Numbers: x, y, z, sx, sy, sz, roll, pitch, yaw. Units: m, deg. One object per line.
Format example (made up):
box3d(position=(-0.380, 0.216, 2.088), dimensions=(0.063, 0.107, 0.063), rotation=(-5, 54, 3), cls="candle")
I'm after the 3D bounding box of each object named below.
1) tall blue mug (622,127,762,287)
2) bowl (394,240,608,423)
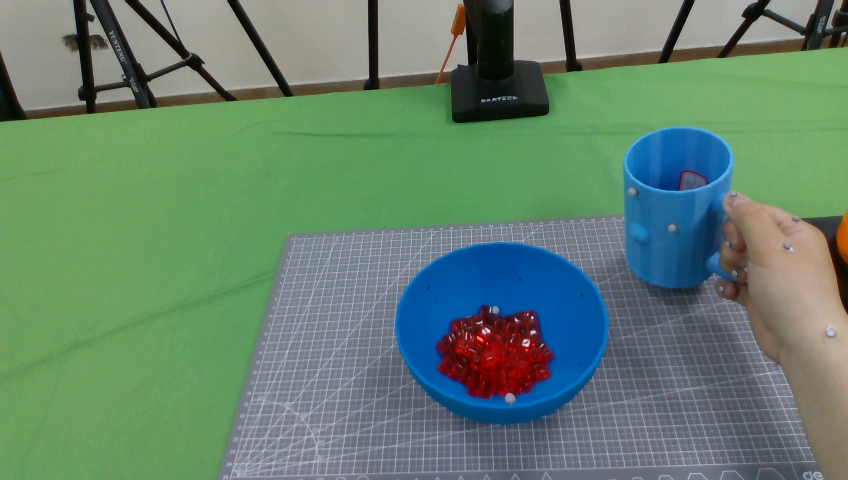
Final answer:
box3d(position=(0.213, -0.021, 0.480), dimensions=(0.106, 0.109, 0.077), rotation=(13, 53, 30), cls="tall blue mug")
box3d(position=(0.057, 0.079, 0.453), dimensions=(0.151, 0.077, 0.150), rotation=(-4, 44, 4), cls="bowl")
